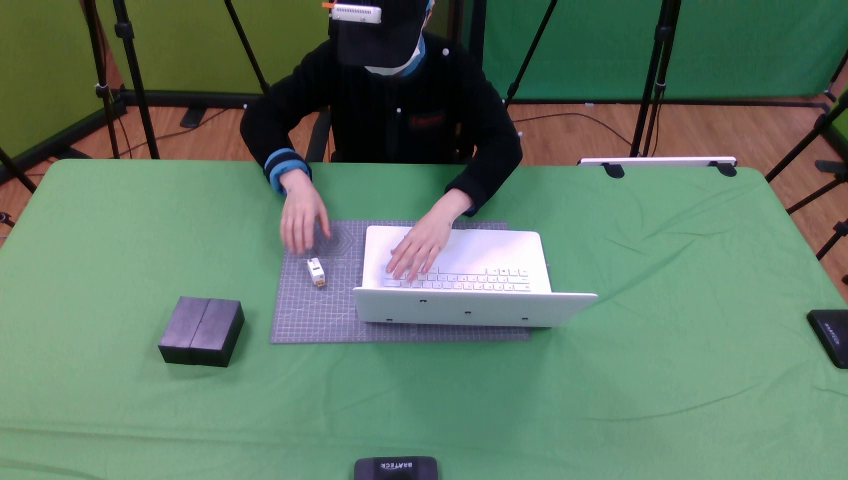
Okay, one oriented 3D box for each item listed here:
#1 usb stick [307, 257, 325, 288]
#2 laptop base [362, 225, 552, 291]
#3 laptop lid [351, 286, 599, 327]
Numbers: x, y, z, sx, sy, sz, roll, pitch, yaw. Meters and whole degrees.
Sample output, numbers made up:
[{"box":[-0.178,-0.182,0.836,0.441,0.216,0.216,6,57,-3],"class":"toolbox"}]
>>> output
[{"box":[-0.198,0.062,1.116,0.021,0.027,0.059,-15,52,-19],"class":"usb stick"},{"box":[0.061,0.063,1.145,0.354,0.023,0.234,2,43,-3],"class":"laptop base"},{"box":[0.068,0.109,0.952,0.357,0.242,0.013,2,71,-4],"class":"laptop lid"}]
